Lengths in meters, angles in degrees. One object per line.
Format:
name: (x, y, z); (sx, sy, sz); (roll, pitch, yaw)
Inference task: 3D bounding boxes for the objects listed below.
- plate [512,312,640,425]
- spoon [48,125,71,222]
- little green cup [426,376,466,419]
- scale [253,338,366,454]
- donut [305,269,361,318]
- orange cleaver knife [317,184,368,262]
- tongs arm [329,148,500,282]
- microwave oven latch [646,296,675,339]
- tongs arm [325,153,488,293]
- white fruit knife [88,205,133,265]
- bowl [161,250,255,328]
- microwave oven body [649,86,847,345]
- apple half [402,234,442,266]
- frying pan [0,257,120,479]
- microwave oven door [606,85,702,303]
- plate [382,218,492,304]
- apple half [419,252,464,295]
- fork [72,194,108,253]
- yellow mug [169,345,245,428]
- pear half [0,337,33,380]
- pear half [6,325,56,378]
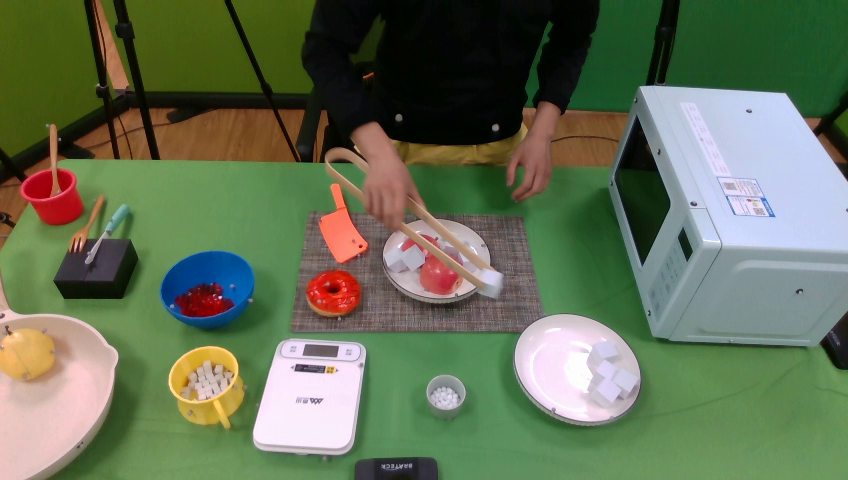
plate: (0.246, 0.213, 0.999); (0.208, 0.039, 0.206); (2, 46, -2)
spoon: (-0.718, -0.131, 1.188); (0.041, 0.021, 0.193); (-3, 90, -7)
little green cup: (0.033, 0.248, 0.950); (0.061, 0.039, 0.061); (2, 46, -2)
scale: (-0.175, 0.236, 0.951); (0.149, 0.032, 0.199); (4, 46, -1)
donut: (-0.160, 0.094, 1.075); (0.099, 0.048, 0.098); (3, 45, -3)
orange cleaver knife: (-0.173, -0.037, 1.218); (0.077, 0.012, 0.210); (-16, 50, -12)
tongs arm: (-0.026, -0.046, 1.062); (0.051, 0.026, 0.383); (-37, 67, -27)
microwave oven latch: (0.412, 0.134, 1.061); (0.030, 0.029, 0.078); (4, 45, 1)
tongs arm: (-0.041, -0.033, 1.050); (0.386, 0.028, 0.028); (38, 63, 18)
white fruit knife: (-0.584, -0.013, 1.129); (0.016, 0.027, 0.206); (0, 32, -5)
bowl: (-0.362, 0.098, 1.039); (0.151, 0.077, 0.150); (2, 45, -2)
microwave oven body: (0.567, -0.053, 1.118); (0.326, 0.261, 0.439); (2, 45, -1)
apple half: (-0.004, 0.014, 1.159); (0.081, 0.033, 0.081); (5, 44, -4)
frying pan: (-0.647, 0.164, 0.936); (0.307, 0.103, 0.485); (-19, 58, -22)
microwave oven door: (0.423, -0.094, 1.140); (0.039, 0.245, 0.353); (2, 46, -1)
plate: (0.023, 0.042, 1.143); (0.209, 0.038, 0.208); (2, 46, -2)
apple half: (0.035, 0.056, 1.109); (0.074, 0.053, 0.081); (37, 56, 24)
fork: (-0.634, -0.036, 1.158); (0.028, 0.019, 0.206); (-8, 32, -8)
yellow mug: (-0.322, 0.230, 0.922); (0.100, 0.064, 0.130); (-24, 53, -25)
pear half: (-0.630, 0.184, 0.921); (0.070, 0.088, 0.031); (29, 49, 19)
pear half: (-0.608, 0.158, 0.935); (0.076, 0.110, 0.056); (31, 51, 20)
